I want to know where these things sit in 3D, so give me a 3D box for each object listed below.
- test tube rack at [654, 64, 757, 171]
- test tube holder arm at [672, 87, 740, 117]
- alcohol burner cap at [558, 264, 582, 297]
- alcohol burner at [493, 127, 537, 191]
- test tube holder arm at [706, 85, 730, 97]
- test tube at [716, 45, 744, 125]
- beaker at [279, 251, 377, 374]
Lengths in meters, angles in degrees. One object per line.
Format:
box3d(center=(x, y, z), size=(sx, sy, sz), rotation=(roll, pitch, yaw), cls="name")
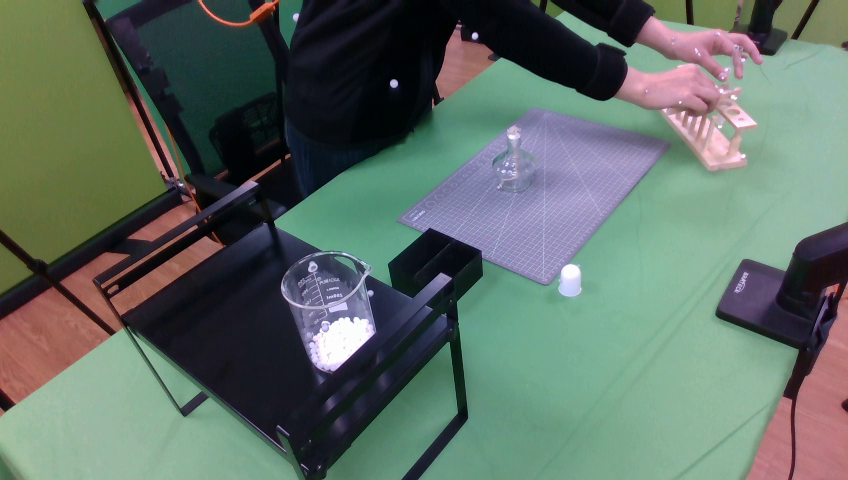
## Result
box3d(center=(0.511, -0.233, 1.120), size=(0.067, 0.085, 0.241), rotation=(-9, 41, -1), cls="test tube rack")
box3d(center=(0.470, -0.230, 1.004), size=(0.179, 0.015, 0.013), rotation=(-22, 35, -30), cls="test tube holder arm")
box3d(center=(0.210, 0.055, 0.865), size=(0.034, 0.048, 0.033), rotation=(-4, 41, 4), cls="alcohol burner cap")
box3d(center=(0.157, -0.146, 1.045), size=(0.078, 0.119, 0.077), rotation=(-4, 43, 4), cls="alcohol burner")
box3d(center=(0.501, -0.248, 1.032), size=(0.010, 0.015, 0.088), rotation=(23, 39, 36), cls="test tube holder arm")
box3d(center=(0.524, -0.262, 1.038), size=(0.017, 0.151, 0.017), rotation=(-5, 45, 6), cls="test tube")
box3d(center=(-0.083, 0.070, 0.569), size=(0.084, 0.101, 0.073), rotation=(-18, 42, -13), cls="beaker")
